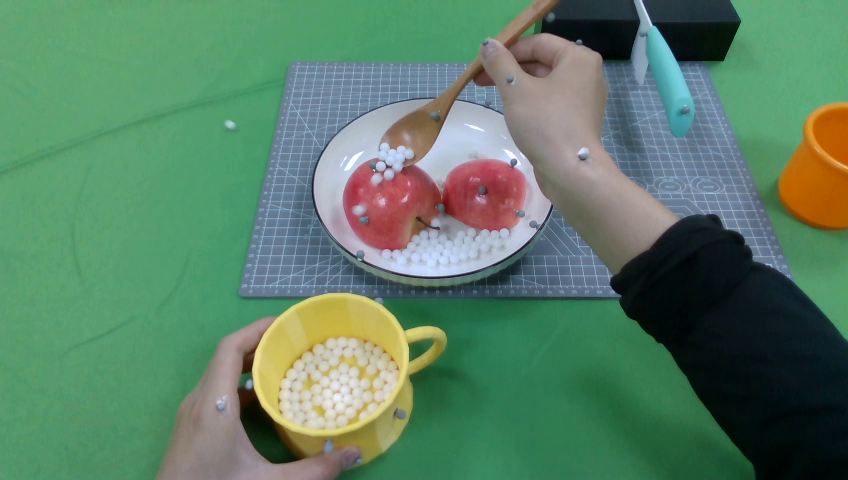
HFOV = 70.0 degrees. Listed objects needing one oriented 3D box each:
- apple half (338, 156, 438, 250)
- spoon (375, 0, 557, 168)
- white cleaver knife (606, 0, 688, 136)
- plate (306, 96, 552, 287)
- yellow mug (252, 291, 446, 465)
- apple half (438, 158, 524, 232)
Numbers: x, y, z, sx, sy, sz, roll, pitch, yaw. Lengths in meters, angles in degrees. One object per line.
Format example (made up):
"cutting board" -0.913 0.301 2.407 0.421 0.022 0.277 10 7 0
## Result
"apple half" -0.031 -0.039 0.503 0.081 0.054 0.074 -38 59 -24
"spoon" 0.033 -0.123 0.454 0.194 0.022 0.041 -42 65 25
"white cleaver knife" 0.223 -0.202 0.625 0.021 0.066 0.283 -2 50 5
"plate" 0.004 -0.043 0.526 0.209 0.038 0.207 0 54 0
"yellow mug" -0.045 0.088 0.415 0.131 0.064 0.099 -19 56 -14
"apple half" 0.049 -0.047 0.521 0.081 0.033 0.080 0 56 0
